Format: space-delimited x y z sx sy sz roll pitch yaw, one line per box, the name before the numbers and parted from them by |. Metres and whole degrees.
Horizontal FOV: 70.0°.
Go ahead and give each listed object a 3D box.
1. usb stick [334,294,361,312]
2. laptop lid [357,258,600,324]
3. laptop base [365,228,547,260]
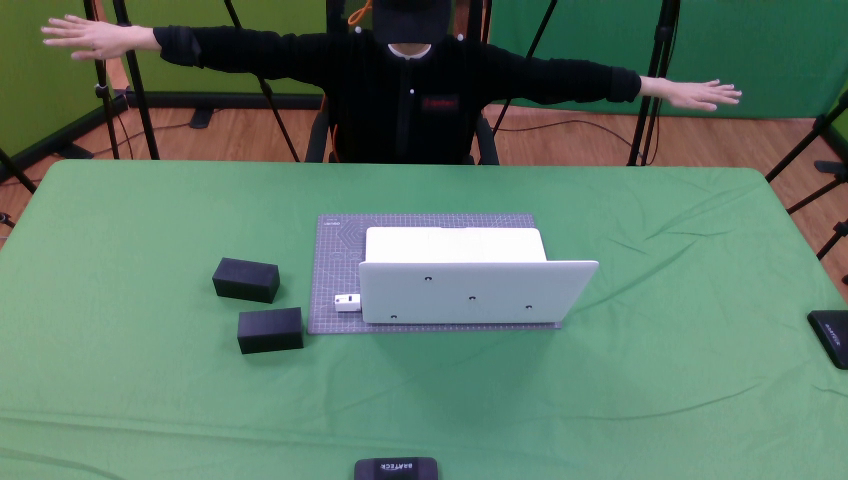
usb stick | -0.128 0.111 1.066 0.059 0.027 0.021 1 45 -6
laptop lid | 0.075 0.087 0.959 0.357 0.242 0.013 1 60 -5
laptop base | 0.064 0.062 1.144 0.355 0.023 0.234 0 42 -4
